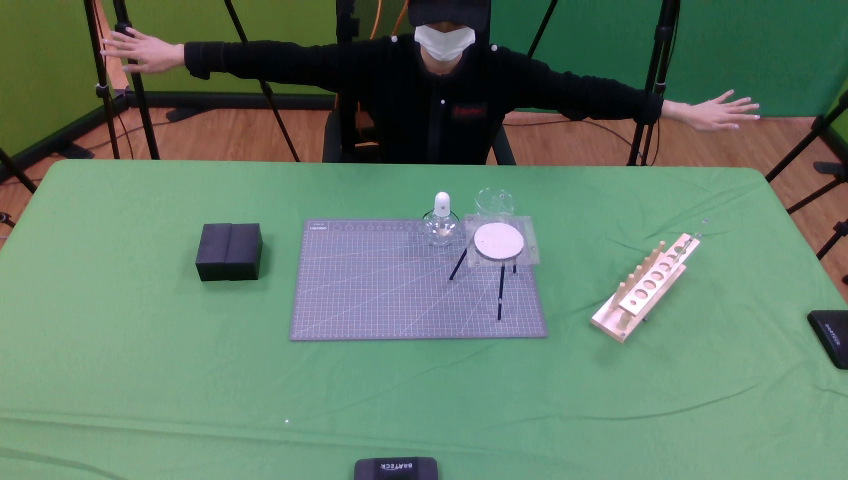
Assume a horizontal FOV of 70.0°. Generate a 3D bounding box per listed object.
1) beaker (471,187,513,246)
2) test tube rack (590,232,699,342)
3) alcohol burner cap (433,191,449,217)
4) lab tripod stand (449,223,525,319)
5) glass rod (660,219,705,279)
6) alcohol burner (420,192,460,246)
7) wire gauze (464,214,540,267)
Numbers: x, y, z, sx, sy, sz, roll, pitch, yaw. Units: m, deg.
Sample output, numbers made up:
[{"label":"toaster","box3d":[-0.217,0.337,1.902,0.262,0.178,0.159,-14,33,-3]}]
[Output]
[{"label":"beaker","box3d":[0.134,-0.042,1.190,0.083,0.101,0.074,34,53,25]},{"label":"test tube rack","box3d":[0.407,0.074,1.112,0.066,0.085,0.242,35,53,26]},{"label":"alcohol burner cap","box3d":[0.033,-0.070,1.150,0.034,0.048,0.033,1,44,0]},{"label":"lab tripod stand","box3d":[0.120,0.046,1.080,0.148,0.132,0.147,1,47,-1]},{"label":"glass rod","box3d":[0.444,0.032,1.063,0.008,0.200,0.008,5,49,-6]},{"label":"alcohol burner","box3d":[0.032,-0.046,1.176,0.078,0.120,0.077,2,44,-1]},{"label":"wire gauze","box3d":[0.131,-0.002,1.034,0.121,0.011,0.124,1,45,-2]}]
